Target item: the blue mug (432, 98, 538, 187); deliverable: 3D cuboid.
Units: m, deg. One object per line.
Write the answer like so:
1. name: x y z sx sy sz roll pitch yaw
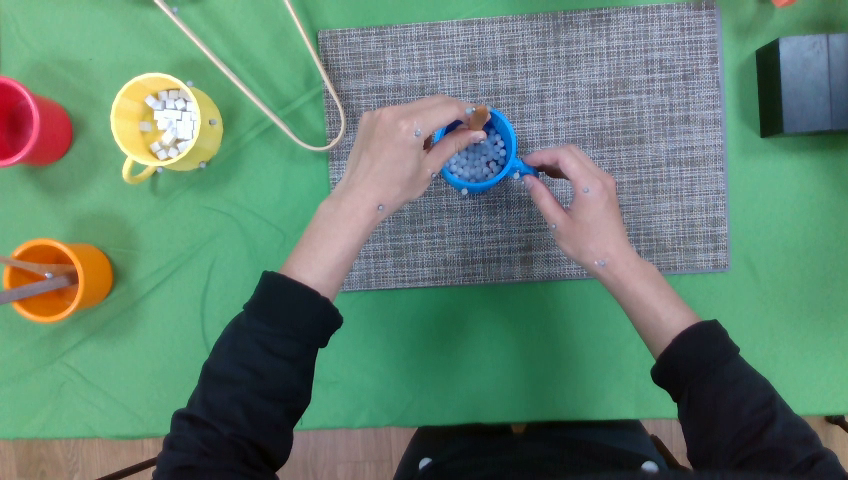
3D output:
1. blue mug: 0.066 -0.094 0.645 0.116 0.106 0.082 23 93 0

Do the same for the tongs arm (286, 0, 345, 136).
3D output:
1. tongs arm: -0.177 -0.295 0.663 0.028 0.027 0.388 -29 99 -5

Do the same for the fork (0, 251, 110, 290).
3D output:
1. fork: -0.448 0.017 0.651 0.209 0.018 0.028 25 89 -42

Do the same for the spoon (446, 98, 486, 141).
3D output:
1. spoon: 0.044 -0.109 0.563 0.041 0.193 0.021 3 96 -1

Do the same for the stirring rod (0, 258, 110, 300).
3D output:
1. stirring rod: -0.437 0.051 0.659 0.176 0.006 0.014 -20 88 -38

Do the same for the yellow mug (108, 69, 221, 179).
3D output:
1. yellow mug: -0.297 -0.122 0.680 0.100 0.064 0.131 35 95 -1

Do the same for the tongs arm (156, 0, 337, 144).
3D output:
1. tongs arm: -0.245 -0.245 0.665 0.051 0.026 0.386 -42 98 0
